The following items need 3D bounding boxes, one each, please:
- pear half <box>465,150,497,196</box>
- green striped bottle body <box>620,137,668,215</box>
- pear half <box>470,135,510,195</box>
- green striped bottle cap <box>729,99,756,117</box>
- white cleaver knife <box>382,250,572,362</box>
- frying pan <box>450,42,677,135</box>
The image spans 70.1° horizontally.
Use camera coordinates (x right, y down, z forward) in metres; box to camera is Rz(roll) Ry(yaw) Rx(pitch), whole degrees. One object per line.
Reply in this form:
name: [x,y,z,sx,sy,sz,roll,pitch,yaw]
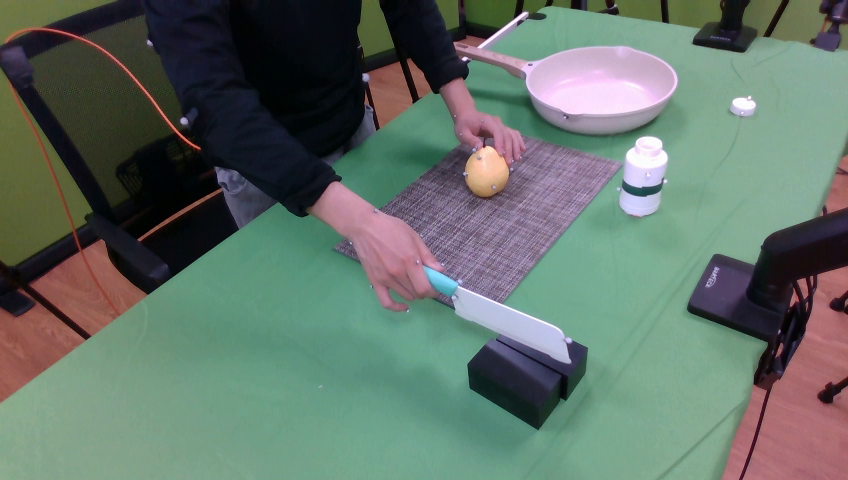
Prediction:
pear half: [0.090,-0.110,1.025,0.070,0.088,0.031,30,53,31]
green striped bottle body: [0.350,-0.103,0.963,0.063,0.120,0.063,-4,41,4]
pear half: [0.115,-0.136,1.035,0.076,0.110,0.056,30,52,30]
green striped bottle cap: [0.623,-0.259,1.182,0.044,0.020,0.044,-3,40,3]
white cleaver knife: [0.052,0.078,0.737,0.284,0.066,0.021,24,52,37]
frying pan: [0.268,-0.344,1.267,0.485,0.103,0.307,25,49,21]
